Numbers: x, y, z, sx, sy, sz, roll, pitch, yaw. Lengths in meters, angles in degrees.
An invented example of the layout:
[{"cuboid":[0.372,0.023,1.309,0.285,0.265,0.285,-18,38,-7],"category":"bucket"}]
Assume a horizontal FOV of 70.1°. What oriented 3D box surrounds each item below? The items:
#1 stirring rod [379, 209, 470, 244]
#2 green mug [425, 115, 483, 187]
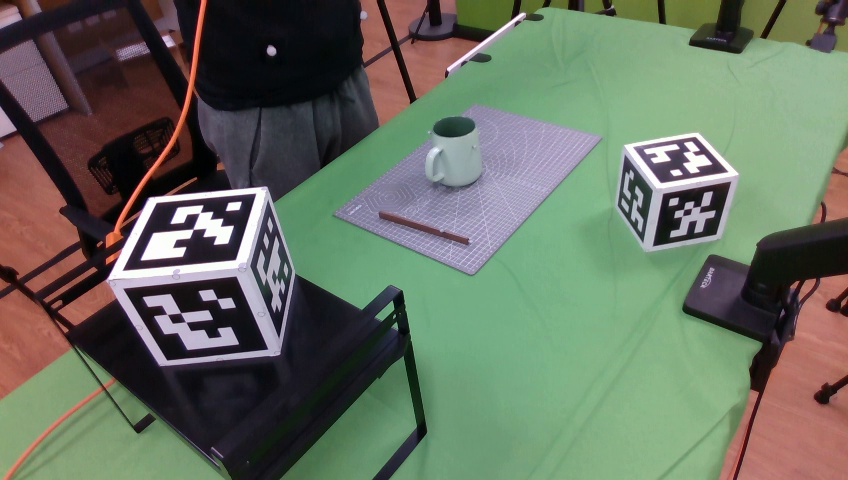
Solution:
[{"cuboid":[-0.002,-0.023,0.996,0.175,0.014,0.006,19,53,26],"category":"stirring rod"},{"cuboid":[0.047,-0.148,1.068,0.092,0.105,0.125,24,50,31],"category":"green mug"}]
